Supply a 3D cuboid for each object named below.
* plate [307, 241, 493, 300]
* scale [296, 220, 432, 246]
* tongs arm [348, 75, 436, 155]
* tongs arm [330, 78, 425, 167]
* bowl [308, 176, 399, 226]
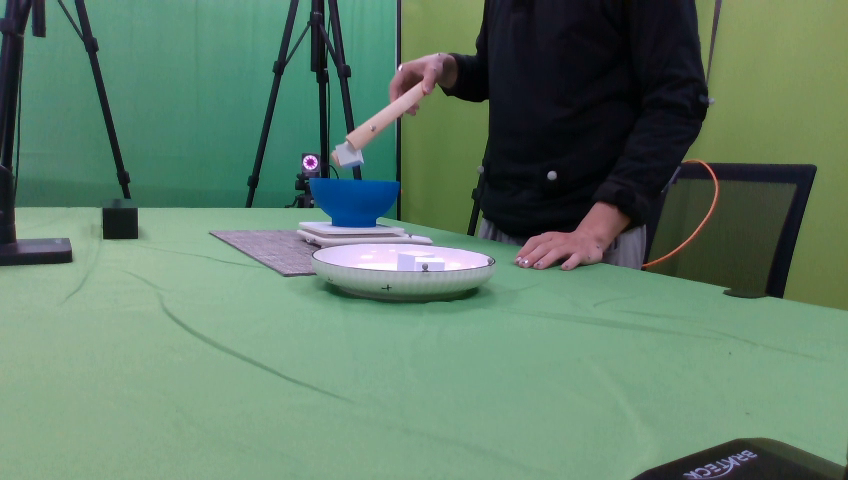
[{"bbox_3d":[-0.027,0.034,0.684,0.208,0.039,0.207,2,7,0],"label":"plate"},{"bbox_3d":[-0.101,-0.012,1.017,0.202,0.031,0.148,-1,8,-30],"label":"scale"},{"bbox_3d":[-0.045,-0.229,1.062,0.028,0.028,0.388,-31,14,33],"label":"tongs arm"},{"bbox_3d":[-0.065,-0.219,1.076,0.050,0.026,0.385,-28,16,29],"label":"tongs arm"},{"bbox_3d":[-0.116,-0.064,1.001,0.151,0.077,0.151,2,6,0],"label":"bowl"}]
